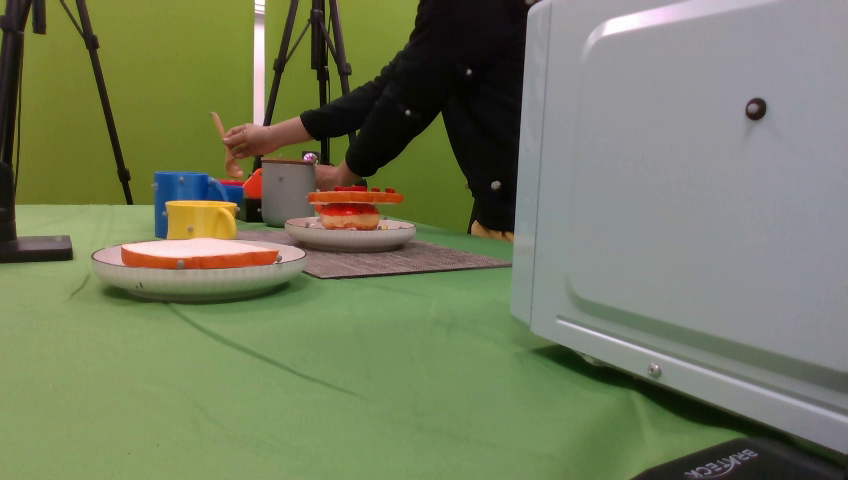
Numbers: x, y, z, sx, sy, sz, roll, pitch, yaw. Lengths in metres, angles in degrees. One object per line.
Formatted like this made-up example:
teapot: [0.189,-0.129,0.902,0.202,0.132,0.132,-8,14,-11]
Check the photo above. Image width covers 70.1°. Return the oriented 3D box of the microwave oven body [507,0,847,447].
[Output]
microwave oven body: [0.331,-0.042,0.425,0.444,0.260,0.324,-2,8,-31]

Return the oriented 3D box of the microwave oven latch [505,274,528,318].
microwave oven latch: [0.100,0.041,0.472,0.079,0.029,0.030,-2,8,-29]

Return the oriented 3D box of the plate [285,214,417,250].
plate: [-0.116,-0.014,0.964,0.209,0.038,0.209,2,8,0]

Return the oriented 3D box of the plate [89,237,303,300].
plate: [-0.233,0.029,0.637,0.208,0.039,0.207,2,7,0]

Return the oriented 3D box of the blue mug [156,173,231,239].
blue mug: [-0.381,-0.057,1.004,0.117,0.106,0.082,1,8,-12]

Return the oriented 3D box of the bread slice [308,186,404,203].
bread slice: [-0.114,-0.071,0.952,0.134,0.018,0.107,-2,1,21]

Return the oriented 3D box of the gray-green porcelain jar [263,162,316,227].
gray-green porcelain jar: [-0.271,-0.092,1.218,0.106,0.126,0.106,2,7,0]

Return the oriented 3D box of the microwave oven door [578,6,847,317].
microwave oven door: [0.294,-0.067,0.570,0.358,0.243,0.039,-3,9,-31]

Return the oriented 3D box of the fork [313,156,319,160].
fork: [-0.330,-0.144,1.505,0.207,0.018,0.028,-42,-20,22]

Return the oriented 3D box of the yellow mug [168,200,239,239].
yellow mug: [-0.320,-0.023,0.904,0.130,0.064,0.100,9,11,36]

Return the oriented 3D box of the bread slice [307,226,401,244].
bread slice: [-0.103,-0.009,0.962,0.131,0.019,0.105,1,8,25]

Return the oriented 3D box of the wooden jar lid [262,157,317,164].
wooden jar lid: [-0.269,-0.154,1.208,0.108,0.020,0.108,3,4,0]

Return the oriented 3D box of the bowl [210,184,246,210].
bowl: [-0.422,-0.067,1.166,0.151,0.077,0.151,2,7,0]

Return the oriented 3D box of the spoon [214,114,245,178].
spoon: [-0.487,-0.235,1.503,0.042,0.193,0.021,-10,-18,-36]

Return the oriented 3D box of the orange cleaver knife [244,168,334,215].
orange cleaver knife: [-0.300,-0.089,1.351,0.212,0.077,0.012,28,-6,-34]
